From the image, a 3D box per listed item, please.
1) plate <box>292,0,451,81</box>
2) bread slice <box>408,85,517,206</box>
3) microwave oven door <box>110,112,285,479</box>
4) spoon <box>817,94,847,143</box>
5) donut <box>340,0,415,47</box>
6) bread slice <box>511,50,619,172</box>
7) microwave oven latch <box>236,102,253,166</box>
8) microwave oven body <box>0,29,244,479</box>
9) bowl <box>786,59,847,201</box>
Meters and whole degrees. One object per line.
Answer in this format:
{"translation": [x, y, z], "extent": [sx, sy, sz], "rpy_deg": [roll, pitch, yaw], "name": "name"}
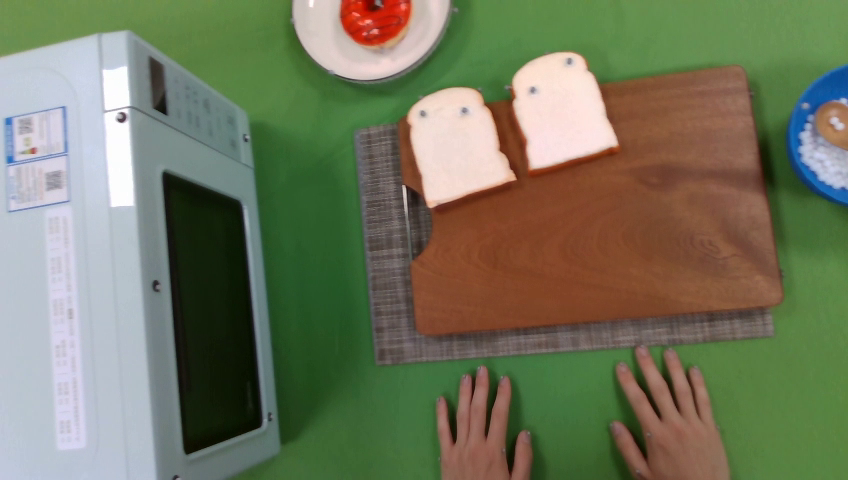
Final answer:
{"translation": [-0.065, -0.300, 0.774], "extent": [0.207, 0.039, 0.207], "rpy_deg": [-1, 84, 11], "name": "plate"}
{"translation": [0.036, -0.114, 0.713], "extent": [0.107, 0.018, 0.133], "rpy_deg": [-21, 80, 7], "name": "bread slice"}
{"translation": [-0.231, 0.070, 0.644], "extent": [0.039, 0.245, 0.354], "rpy_deg": [-10, 82, 10], "name": "microwave oven door"}
{"translation": [0.462, -0.071, 0.594], "extent": [0.041, 0.022, 0.192], "rpy_deg": [-33, 61, 11], "name": "spoon"}
{"translation": [-0.059, -0.291, 0.759], "extent": [0.099, 0.048, 0.099], "rpy_deg": [-2, 84, 14], "name": "donut"}
{"translation": [0.154, -0.153, 0.696], "extent": [0.105, 0.019, 0.131], "rpy_deg": [-16, 81, 7], "name": "bread slice"}
{"translation": [-0.238, -0.133, 0.770], "extent": [0.030, 0.029, 0.079], "rpy_deg": [-8, 83, 10], "name": "microwave oven latch"}
{"translation": [-0.378, 0.053, 0.679], "extent": [0.325, 0.261, 0.440], "rpy_deg": [-9, 83, 9], "name": "microwave oven body"}
{"translation": [0.450, -0.106, 0.632], "extent": [0.151, 0.077, 0.151], "rpy_deg": [-1, 84, 11], "name": "bowl"}
